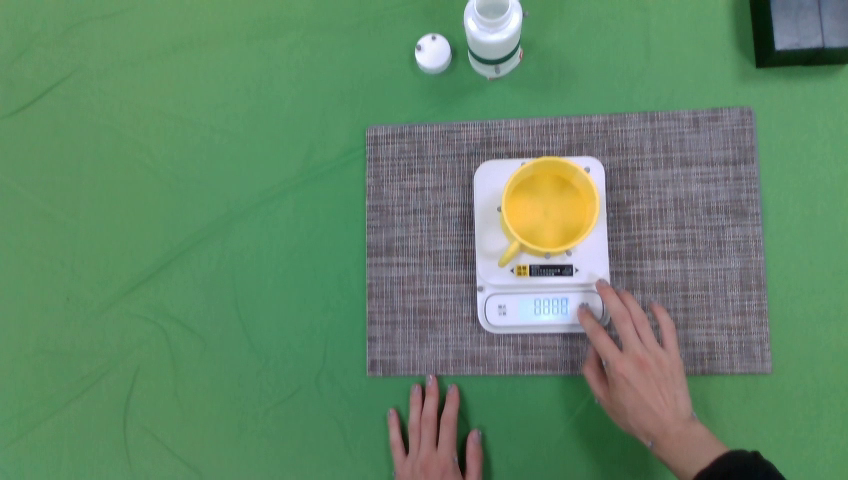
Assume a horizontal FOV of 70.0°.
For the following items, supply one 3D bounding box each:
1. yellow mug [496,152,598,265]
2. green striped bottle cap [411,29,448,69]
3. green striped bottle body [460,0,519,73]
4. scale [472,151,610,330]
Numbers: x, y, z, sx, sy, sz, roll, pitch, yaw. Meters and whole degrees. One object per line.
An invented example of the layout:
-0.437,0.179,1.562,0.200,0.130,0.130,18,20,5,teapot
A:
0.119,-0.025,0.642,0.099,0.064,0.131,38,90,8,yellow mug
0.007,-0.233,0.737,0.044,0.020,0.044,0,90,6,green striped bottle cap
0.073,-0.239,0.676,0.063,0.119,0.063,-1,83,7,green striped bottle body
0.131,0.000,0.687,0.148,0.031,0.200,-2,85,6,scale
